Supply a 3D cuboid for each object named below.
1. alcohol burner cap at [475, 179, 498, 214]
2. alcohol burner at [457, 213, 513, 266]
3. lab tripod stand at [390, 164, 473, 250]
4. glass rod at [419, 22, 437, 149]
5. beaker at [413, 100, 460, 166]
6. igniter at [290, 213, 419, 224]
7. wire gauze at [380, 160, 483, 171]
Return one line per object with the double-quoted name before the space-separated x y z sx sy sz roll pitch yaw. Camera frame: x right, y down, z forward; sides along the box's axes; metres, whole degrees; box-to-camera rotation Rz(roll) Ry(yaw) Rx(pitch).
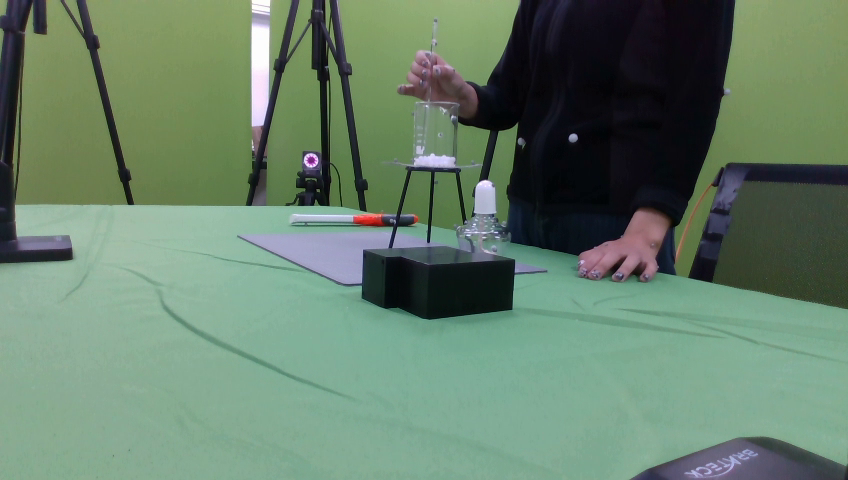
"alcohol burner cap" 0.086 -0.061 0.833 0.034 0.048 0.034 0 11 0
"alcohol burner" 0.085 -0.025 0.837 0.078 0.119 0.078 0 8 0
"lab tripod stand" 0.011 -0.054 0.960 0.148 0.131 0.148 2 9 0
"glass rod" 0.006 -0.242 0.951 0.008 0.199 0.008 7 2 0
"beaker" 0.020 -0.167 0.953 0.073 0.100 0.084 6 9 26
"igniter" -0.143 -0.046 1.288 0.278 0.025 0.057 -1 -3 -24
"wire gauze" 0.011 -0.119 0.951 0.122 0.011 0.124 -5 12 -32
